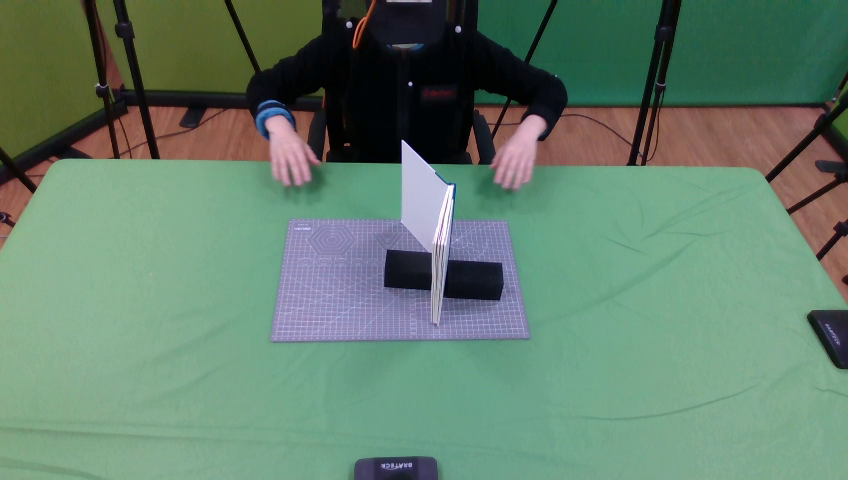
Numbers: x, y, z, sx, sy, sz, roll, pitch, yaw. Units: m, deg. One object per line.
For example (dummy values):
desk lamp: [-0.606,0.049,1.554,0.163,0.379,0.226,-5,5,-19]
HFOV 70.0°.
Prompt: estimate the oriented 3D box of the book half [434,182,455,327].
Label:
book half: [0.033,0.028,1.036,0.016,0.211,0.148,7,46,4]

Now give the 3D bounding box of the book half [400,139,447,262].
book half: [-0.005,-0.066,1.124,0.007,0.211,0.142,-26,53,-24]
